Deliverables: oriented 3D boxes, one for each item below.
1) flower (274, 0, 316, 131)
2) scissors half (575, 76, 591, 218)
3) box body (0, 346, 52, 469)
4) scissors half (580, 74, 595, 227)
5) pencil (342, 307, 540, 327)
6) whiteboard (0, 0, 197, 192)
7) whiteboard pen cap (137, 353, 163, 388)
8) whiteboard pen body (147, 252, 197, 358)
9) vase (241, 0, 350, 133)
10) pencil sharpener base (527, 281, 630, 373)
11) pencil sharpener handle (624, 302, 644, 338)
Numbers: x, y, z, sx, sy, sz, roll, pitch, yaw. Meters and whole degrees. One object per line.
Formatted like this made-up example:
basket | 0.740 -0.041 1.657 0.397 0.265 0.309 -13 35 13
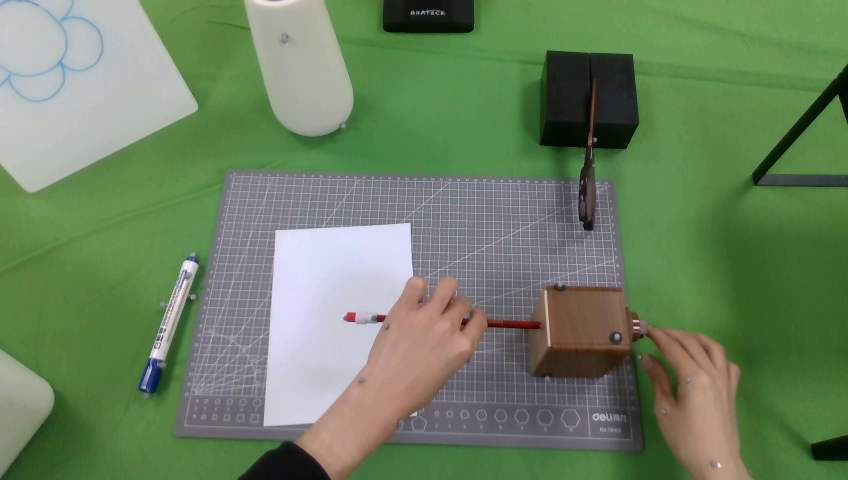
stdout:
flower | -0.147 -0.253 0.586 0.044 0.365 0.038 -5 48 2
scissors half | 0.175 -0.106 0.654 0.013 0.040 0.174 1 67 21
box body | -0.561 0.136 0.523 0.362 0.161 0.253 27 69 12
scissors half | 0.184 -0.101 0.672 0.012 0.040 0.175 0 84 26
pencil | 0.023 0.071 0.546 0.194 0.012 0.012 3 65 2
whiteboard | -0.432 -0.247 0.651 0.217 0.309 0.142 -31 49 -12
whiteboard pen cap | -0.271 0.129 0.601 0.018 0.018 0.033 7 62 4
whiteboard pen body | -0.263 0.077 0.626 0.017 0.017 0.140 8 64 4
vase | -0.139 -0.205 0.655 0.098 0.201 0.097 -1 64 2
pencil sharpener base | 0.142 0.084 0.569 0.077 0.108 0.061 0 65 1
pencil sharpener handle | 0.193 0.077 0.559 0.030 0.068 0.036 0 74 1
